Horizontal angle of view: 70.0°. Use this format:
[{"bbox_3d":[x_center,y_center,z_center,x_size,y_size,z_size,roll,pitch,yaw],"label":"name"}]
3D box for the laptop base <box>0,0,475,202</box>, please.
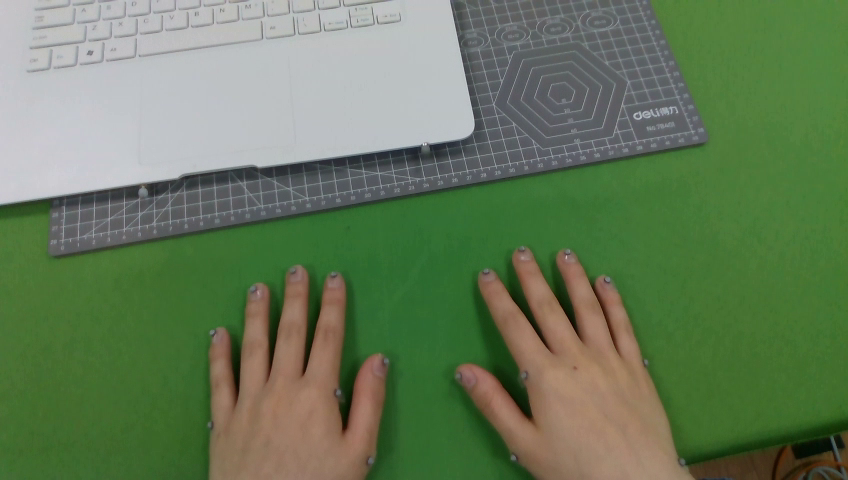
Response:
[{"bbox_3d":[-0.155,-0.151,0.453,0.354,0.023,0.234,-9,70,-2],"label":"laptop base"}]
